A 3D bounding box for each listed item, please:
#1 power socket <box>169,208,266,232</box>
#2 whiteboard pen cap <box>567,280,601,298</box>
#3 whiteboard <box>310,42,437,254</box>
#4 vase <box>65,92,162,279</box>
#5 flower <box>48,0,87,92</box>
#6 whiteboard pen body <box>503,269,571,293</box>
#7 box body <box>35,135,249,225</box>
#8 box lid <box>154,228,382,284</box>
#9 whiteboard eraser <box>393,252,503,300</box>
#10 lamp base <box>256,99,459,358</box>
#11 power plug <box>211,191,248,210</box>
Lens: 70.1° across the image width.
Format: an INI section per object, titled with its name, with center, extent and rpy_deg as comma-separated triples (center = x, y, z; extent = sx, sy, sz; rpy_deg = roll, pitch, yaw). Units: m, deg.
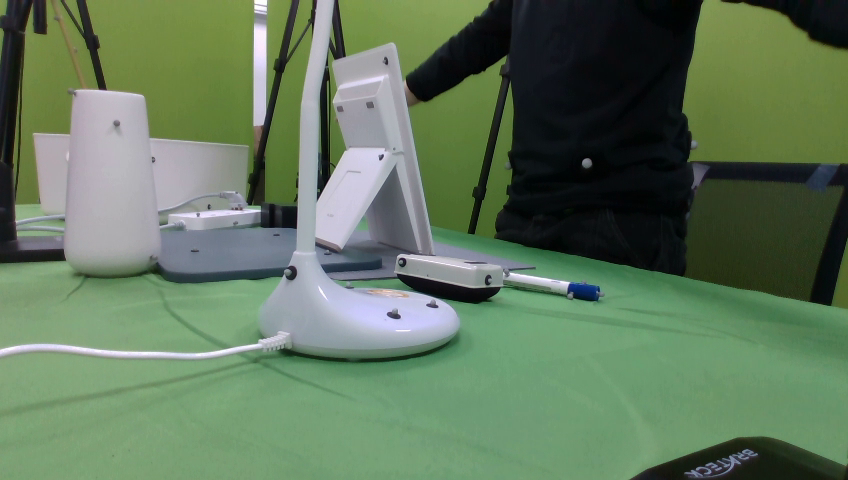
[power socket]
center = -0.379, -0.038, 1.129
extent = 0.072, 0.032, 0.227
rpy_deg = 4, 8, 18
[whiteboard pen cap]
center = 0.171, 0.052, 0.648
extent = 0.033, 0.018, 0.018
rpy_deg = 10, 10, 30
[whiteboard]
center = -0.121, -0.112, 0.890
extent = 0.144, 0.305, 0.216
rpy_deg = -19, 17, -26
[vase]
center = -0.348, -0.060, 0.673
extent = 0.098, 0.200, 0.098
rpy_deg = 1, 7, 0
[flower]
center = -0.361, -0.141, 0.658
extent = 0.038, 0.361, 0.044
rpy_deg = -13, 11, 12
[whiteboard pen body]
center = 0.123, 0.046, 0.680
extent = 0.140, 0.017, 0.017
rpy_deg = 7, 9, 30
[box body]
center = -0.561, -0.127, 1.258
extent = 0.254, 0.160, 0.365
rpy_deg = 4, 8, 13
[box lid]
center = -0.250, 0.014, 0.853
extent = 0.265, 0.015, 0.369
rpy_deg = -3, 9, -32
[whiteboard eraser]
center = 0.024, 0.037, 0.637
extent = 0.112, 0.042, 0.056
rpy_deg = 8, 7, 42
[lamp base]
center = -0.055, -0.013, 0.463
extent = 0.160, 0.180, 0.180
rpy_deg = 6, 11, 27
[power plug]
center = -0.384, -0.071, 1.206
extent = 0.072, 0.052, 0.035
rpy_deg = 1, 7, 27
